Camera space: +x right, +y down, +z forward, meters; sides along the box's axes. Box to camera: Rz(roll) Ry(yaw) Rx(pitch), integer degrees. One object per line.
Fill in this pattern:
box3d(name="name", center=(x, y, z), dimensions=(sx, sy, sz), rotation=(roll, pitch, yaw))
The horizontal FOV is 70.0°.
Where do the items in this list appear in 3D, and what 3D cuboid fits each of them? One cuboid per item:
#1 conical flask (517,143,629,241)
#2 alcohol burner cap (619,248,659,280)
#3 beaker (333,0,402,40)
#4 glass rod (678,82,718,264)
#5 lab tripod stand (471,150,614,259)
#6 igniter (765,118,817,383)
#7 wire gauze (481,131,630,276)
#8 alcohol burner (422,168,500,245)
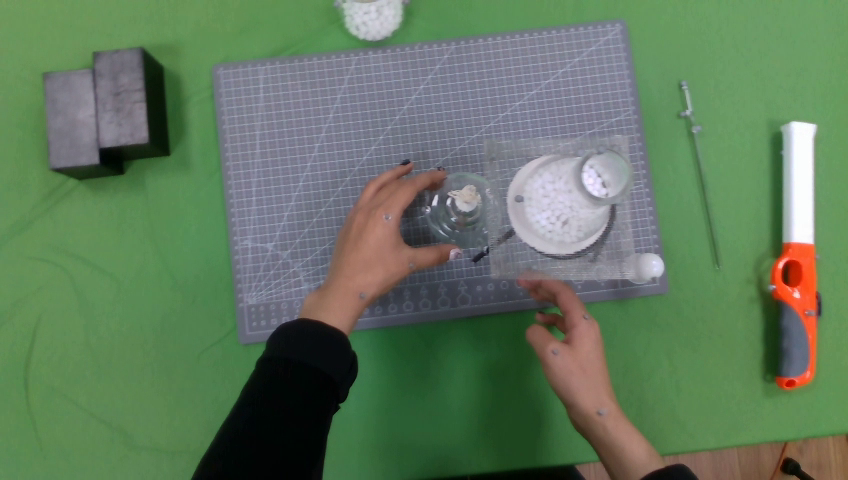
box3d(name="conical flask", center=(0.115, -0.040, 0.451), dimensions=(0.075, 0.122, 0.075), rotation=(0, 86, -1))
box3d(name="alcohol burner cap", center=(0.222, 0.023, 0.618), dimensions=(0.034, 0.048, 0.034), rotation=(0, 84, -1))
box3d(name="beaker", center=(-0.056, -0.253, 0.612), dimensions=(0.084, 0.100, 0.074), rotation=(29, 85, 1))
box3d(name="glass rod", center=(0.291, -0.073, 0.646), dimensions=(0.008, 0.008, 0.199), rotation=(-8, 85, -2))
box3d(name="lab tripod stand", center=(0.113, -0.023, 0.575), dimensions=(0.148, 0.131, 0.148), rotation=(0, 87, 0))
box3d(name="igniter", center=(0.383, 0.010, 0.632), dimensions=(0.057, 0.025, 0.276), rotation=(5, 85, -11))
box3d(name="wire gauze", center=(0.111, -0.030, 0.509), dimensions=(0.125, 0.011, 0.121), rotation=(-1, 88, -3))
box3d(name="alcohol burner", center=(0.036, -0.035, 0.585), dimensions=(0.078, 0.119, 0.077), rotation=(0, 85, 2))
